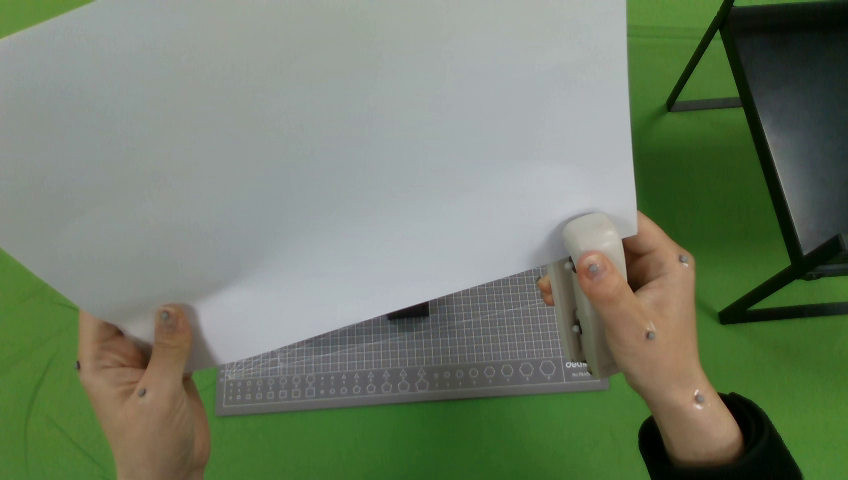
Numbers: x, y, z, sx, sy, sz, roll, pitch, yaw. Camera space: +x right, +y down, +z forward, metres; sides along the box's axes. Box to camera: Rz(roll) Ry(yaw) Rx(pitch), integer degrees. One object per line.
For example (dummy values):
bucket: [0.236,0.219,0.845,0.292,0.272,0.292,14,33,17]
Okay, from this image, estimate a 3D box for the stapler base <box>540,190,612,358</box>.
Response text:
stapler base: [0.101,0.030,0.370,0.041,0.132,0.024,-14,37,6]

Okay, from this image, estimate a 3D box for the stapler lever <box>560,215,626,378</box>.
stapler lever: [0.103,0.039,0.359,0.027,0.119,0.040,-14,26,6]
